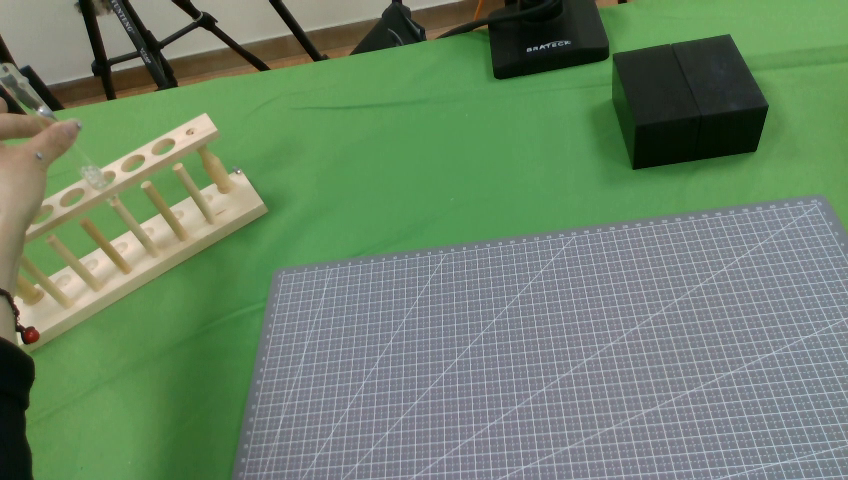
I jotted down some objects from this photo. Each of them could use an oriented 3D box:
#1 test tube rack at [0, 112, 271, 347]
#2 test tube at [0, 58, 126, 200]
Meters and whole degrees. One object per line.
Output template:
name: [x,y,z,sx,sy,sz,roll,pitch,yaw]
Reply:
test tube rack: [-0.274,-0.012,0.551,0.242,0.086,0.066,-32,51,-12]
test tube: [-0.287,-0.082,0.490,0.017,0.152,0.017,-5,55,7]
